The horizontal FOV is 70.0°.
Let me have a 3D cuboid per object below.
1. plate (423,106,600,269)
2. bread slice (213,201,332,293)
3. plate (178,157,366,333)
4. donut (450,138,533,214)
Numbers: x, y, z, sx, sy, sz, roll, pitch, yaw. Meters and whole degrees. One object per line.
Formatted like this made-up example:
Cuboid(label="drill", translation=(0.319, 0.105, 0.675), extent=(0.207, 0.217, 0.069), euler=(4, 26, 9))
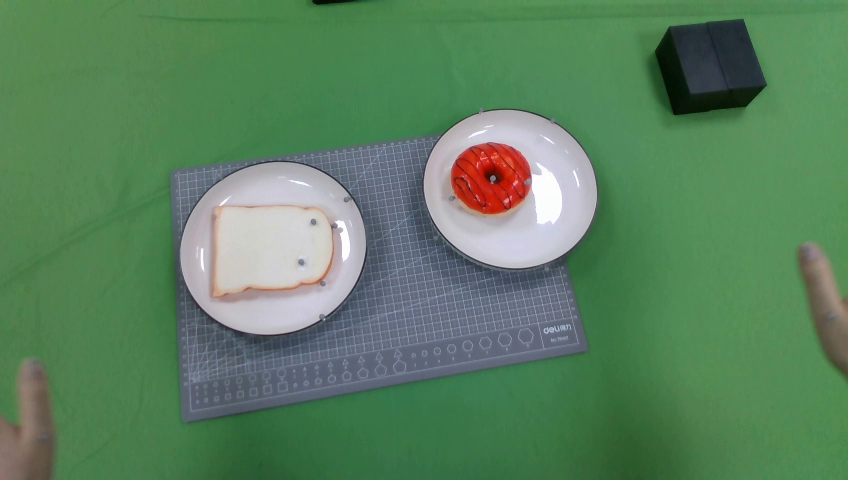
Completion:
Cuboid(label="plate", translation=(0.103, -0.061, 0.724), extent=(0.208, 0.039, 0.206), euler=(1, 71, -2))
Cuboid(label="bread slice", translation=(-0.173, 0.003, 0.694), extent=(0.134, 0.018, 0.106), euler=(-6, 73, -4))
Cuboid(label="plate", translation=(-0.169, 0.006, 0.692), extent=(0.209, 0.038, 0.207), euler=(1, 72, -2))
Cuboid(label="donut", translation=(0.080, -0.076, 0.716), extent=(0.099, 0.048, 0.098), euler=(0, 68, 0))
